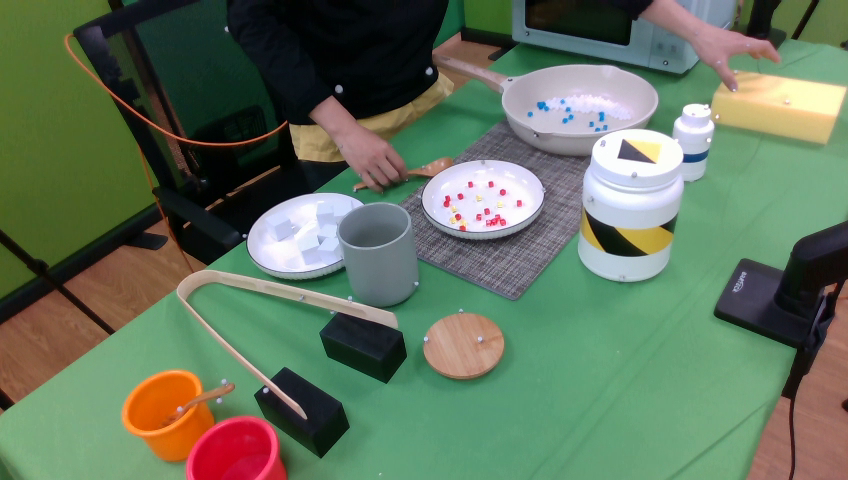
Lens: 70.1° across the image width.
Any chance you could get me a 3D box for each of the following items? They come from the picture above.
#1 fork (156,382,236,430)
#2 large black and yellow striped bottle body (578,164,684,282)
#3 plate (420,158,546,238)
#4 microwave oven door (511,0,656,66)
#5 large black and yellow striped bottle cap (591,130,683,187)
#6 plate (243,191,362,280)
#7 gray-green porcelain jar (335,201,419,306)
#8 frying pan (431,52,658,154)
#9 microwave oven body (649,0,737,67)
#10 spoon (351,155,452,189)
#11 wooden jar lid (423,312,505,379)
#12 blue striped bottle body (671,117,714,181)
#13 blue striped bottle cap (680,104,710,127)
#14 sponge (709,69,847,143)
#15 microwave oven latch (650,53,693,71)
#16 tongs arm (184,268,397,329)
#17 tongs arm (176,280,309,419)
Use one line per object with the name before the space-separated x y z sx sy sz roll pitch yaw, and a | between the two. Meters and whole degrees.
fork | -0.262 0.189 0.690 0.018 0.206 0.028 49 43 -7
large black and yellow striped bottle body | 0.291 -0.046 0.859 0.131 0.185 0.130 -4 41 4
plate | 0.099 -0.067 1.017 0.209 0.038 0.208 -4 40 4
microwave oven door | 0.351 -0.540 1.349 0.353 0.245 0.039 24 50 31
large black and yellow striped bottle cap | 0.282 -0.111 0.803 0.115 0.019 0.114 -3 41 3
plate | -0.187 -0.005 0.992 0.207 0.039 0.206 -4 41 4
gray-green porcelain jar | -0.064 0.024 0.872 0.106 0.127 0.105 -4 41 4
frying pan | 0.216 -0.302 1.223 0.484 0.103 0.308 29 49 24
microwave oven body | 0.475 -0.602 1.411 0.438 0.261 0.327 23 50 32
spoon | -0.042 -0.125 1.119 0.194 0.022 0.041 -12 58 -3
wooden jar lid | 0.053 0.142 0.800 0.108 0.021 0.108 -5 39 4
blue striped bottle body | 0.449 -0.165 1.022 0.063 0.121 0.063 -5 41 4
blue striped bottle cap | 0.443 -0.205 0.989 0.044 0.021 0.044 -1 41 2
sponge | 0.663 -0.256 1.142 0.205 0.061 0.118 18 47 28
microwave oven latch | 0.531 -0.386 1.301 0.078 0.029 0.030 26 51 33
tongs arm | -0.202 0.084 0.848 0.382 0.027 0.051 11 45 35
tongs arm | -0.254 0.133 0.801 0.028 0.028 0.384 -41 41 -23
